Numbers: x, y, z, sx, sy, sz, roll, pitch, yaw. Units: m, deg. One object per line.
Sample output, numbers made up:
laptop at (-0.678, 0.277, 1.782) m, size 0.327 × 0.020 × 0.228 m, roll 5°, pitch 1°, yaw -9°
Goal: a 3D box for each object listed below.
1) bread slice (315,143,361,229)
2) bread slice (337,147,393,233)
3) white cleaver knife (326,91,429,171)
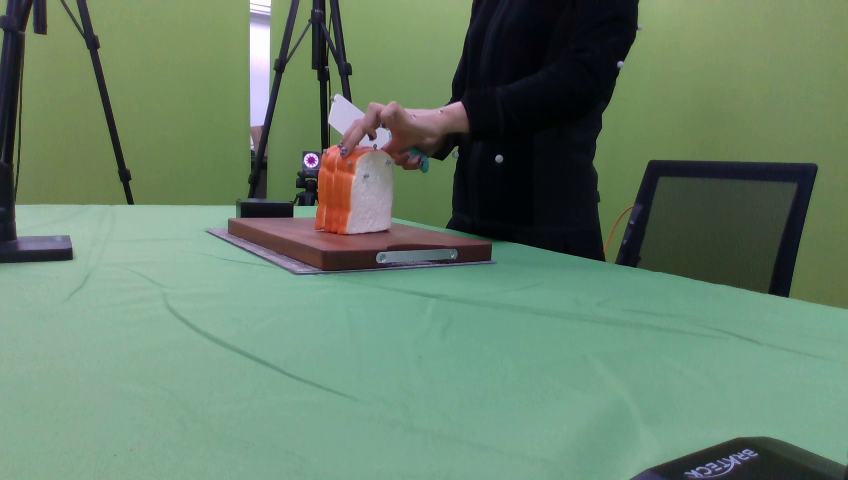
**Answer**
bread slice at (-0.122, -0.083, 0.946) m, size 0.018 × 0.134 × 0.107 m, roll 8°, pitch 6°, yaw 35°
bread slice at (-0.085, -0.075, 0.915) m, size 0.019 × 0.131 × 0.105 m, roll 15°, pitch 16°, yaw 34°
white cleaver knife at (-0.075, -0.170, 1.047) m, size 0.021 × 0.066 × 0.288 m, roll 5°, pitch -12°, yaw 35°
